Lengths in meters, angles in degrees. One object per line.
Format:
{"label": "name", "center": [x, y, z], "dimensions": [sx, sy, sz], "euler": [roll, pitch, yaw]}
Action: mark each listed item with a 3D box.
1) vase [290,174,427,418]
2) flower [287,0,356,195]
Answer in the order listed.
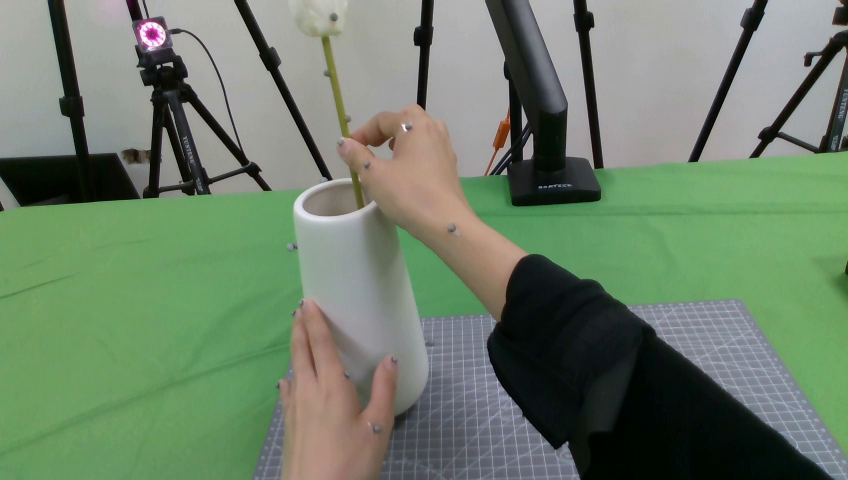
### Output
{"label": "vase", "center": [-0.052, 0.049, 0.494], "dimensions": [0.098, 0.201, 0.097], "euler": [-4, 31, 3]}
{"label": "flower", "center": [-0.050, -0.032, 0.462], "dimensions": [0.044, 0.363, 0.038], "euler": [-19, 20, -28]}
